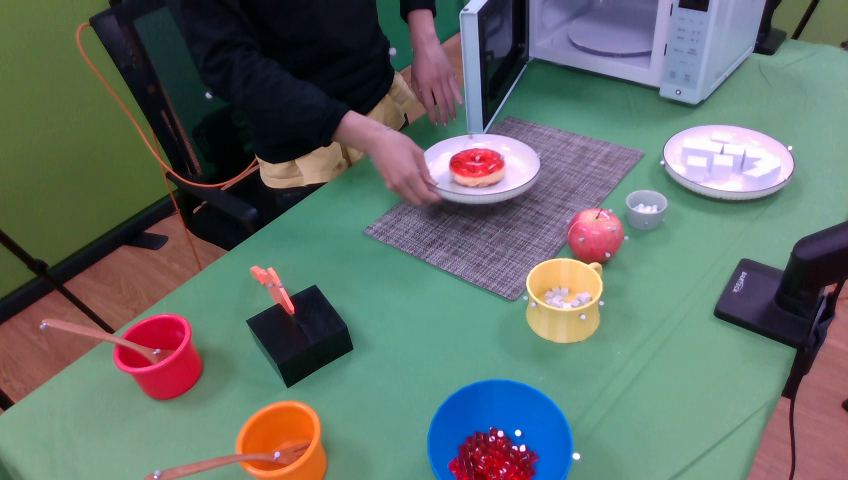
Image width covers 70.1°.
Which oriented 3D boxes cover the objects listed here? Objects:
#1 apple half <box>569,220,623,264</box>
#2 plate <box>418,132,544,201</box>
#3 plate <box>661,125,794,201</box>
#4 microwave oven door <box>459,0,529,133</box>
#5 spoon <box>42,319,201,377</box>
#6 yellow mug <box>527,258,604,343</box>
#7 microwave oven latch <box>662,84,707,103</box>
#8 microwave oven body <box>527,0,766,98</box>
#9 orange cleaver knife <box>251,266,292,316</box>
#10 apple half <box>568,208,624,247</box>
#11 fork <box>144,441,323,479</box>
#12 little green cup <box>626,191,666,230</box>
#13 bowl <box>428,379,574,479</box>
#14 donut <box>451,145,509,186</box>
[{"bbox_3d":[0.251,0.010,0.884,0.081,0.081,0.032,3,37,12],"label":"apple half"},{"bbox_3d":[0.096,-0.119,1.018,0.209,0.038,0.208,-2,36,2],"label":"plate"},{"bbox_3d":[0.513,-0.128,1.035,0.207,0.039,0.206,-4,40,4],"label":"plate"},{"bbox_3d":[0.153,-0.410,1.237,0.039,0.245,0.356,11,44,20],"label":"microwave oven door"},{"bbox_3d":[-0.385,0.135,0.779,0.195,0.021,0.041,28,37,-26],"label":"spoon"},{"bbox_3d":[0.201,0.073,0.825,0.131,0.064,0.099,-32,46,-27],"label":"yellow mug"},{"bbox_3d":[0.517,-0.296,1.204,0.078,0.029,0.030,26,52,34],"label":"microwave oven latch"},{"bbox_3d":[0.472,-0.513,1.317,0.438,0.261,0.327,26,51,34],"label":"microwave oven body"},{"bbox_3d":[-0.221,0.071,0.873,0.012,0.077,0.210,-25,11,-21],"label":"orange cleaver knife"},{"bbox_3d":[0.259,-0.014,0.914,0.080,0.075,0.053,0,36,15],"label":"apple half"},{"bbox_3d":[-0.189,0.231,0.631,0.028,0.018,0.209,35,12,37],"label":"fork"},{"bbox_3d":[0.352,-0.046,0.963,0.061,0.039,0.061,-4,40,4],"label":"little green cup"},{"bbox_3d":[0.082,0.233,0.644,0.151,0.077,0.150,-4,39,4],"label":"bowl"},{"bbox_3d":[0.093,-0.126,1.010,0.099,0.048,0.098,-3,35,3],"label":"donut"}]
